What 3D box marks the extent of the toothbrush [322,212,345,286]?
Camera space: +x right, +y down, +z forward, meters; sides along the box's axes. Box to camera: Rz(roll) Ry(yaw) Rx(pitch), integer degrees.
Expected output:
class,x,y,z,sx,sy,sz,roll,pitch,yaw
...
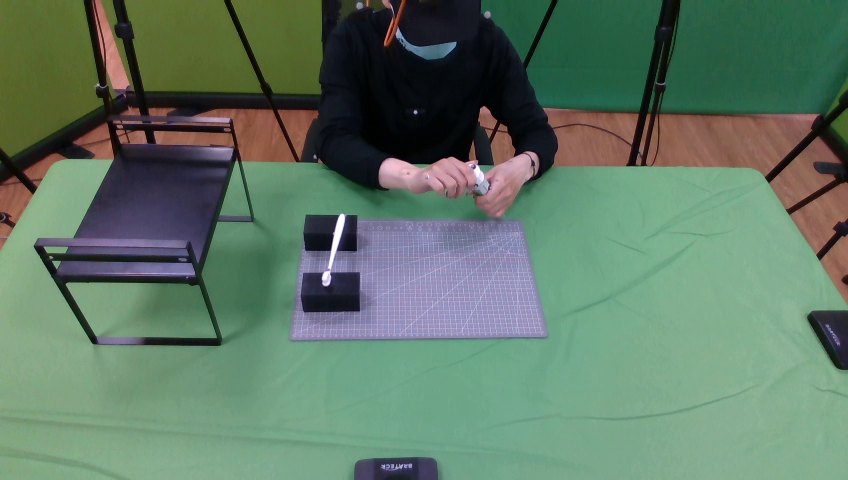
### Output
class,x,y,z,sx,sy,sz,roll,pitch,yaw
toothbrush,-0.164,0.011,1.101,0.014,0.017,0.181,-6,44,12

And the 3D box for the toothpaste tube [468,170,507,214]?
class,x,y,z,sx,sy,sz,roll,pitch,yaw
toothpaste tube,0.123,-0.096,1.187,0.034,0.166,0.055,-45,59,3

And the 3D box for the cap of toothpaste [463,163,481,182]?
class,x,y,z,sx,sy,sz,roll,pitch,yaw
cap of toothpaste,0.090,-0.126,1.120,0.037,0.011,0.037,-7,71,21
